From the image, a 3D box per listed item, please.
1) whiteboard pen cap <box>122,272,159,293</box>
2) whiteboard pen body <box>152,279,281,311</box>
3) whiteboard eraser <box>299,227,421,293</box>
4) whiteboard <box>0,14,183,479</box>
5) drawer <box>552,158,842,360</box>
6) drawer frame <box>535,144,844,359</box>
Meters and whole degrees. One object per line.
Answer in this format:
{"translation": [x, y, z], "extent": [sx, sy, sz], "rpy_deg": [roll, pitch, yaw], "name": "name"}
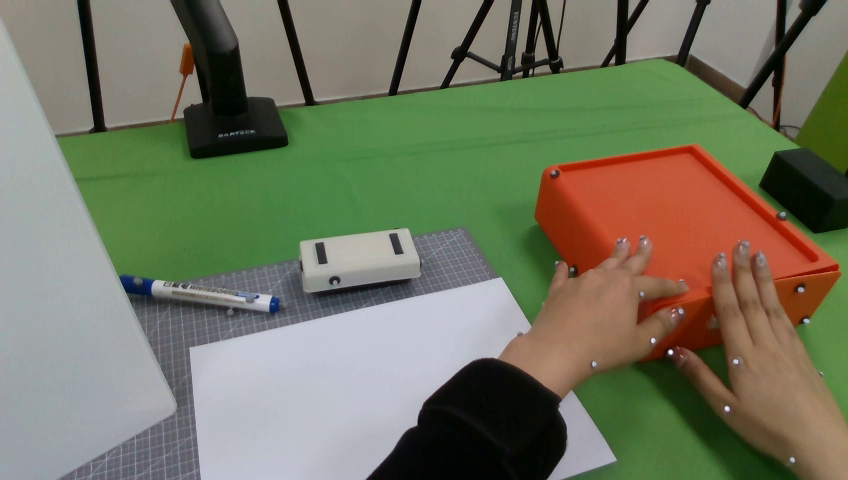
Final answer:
{"translation": [-0.262, 0.040, 0.561], "extent": [0.033, 0.018, 0.018], "rpy_deg": [8, 40, -2], "name": "whiteboard pen cap"}
{"translation": [-0.203, 0.049, 0.560], "extent": [0.141, 0.017, 0.017], "rpy_deg": [8, 40, 0], "name": "whiteboard pen body"}
{"translation": [-0.063, 0.021, 0.590], "extent": [0.113, 0.042, 0.055], "rpy_deg": [-8, 40, -13], "name": "whiteboard eraser"}
{"translation": [-0.340, 0.026, 0.407], "extent": [0.217, 0.308, 0.142], "rpy_deg": [-28, 30, -30], "name": "whiteboard"}
{"translation": [0.251, 0.006, 0.608], "extent": [0.195, 0.074, 0.209], "rpy_deg": [-9, 41, -14], "name": "drawer"}
{"translation": [0.250, 0.001, 0.612], "extent": [0.202, 0.083, 0.211], "rpy_deg": [-11, 42, -15], "name": "drawer frame"}
